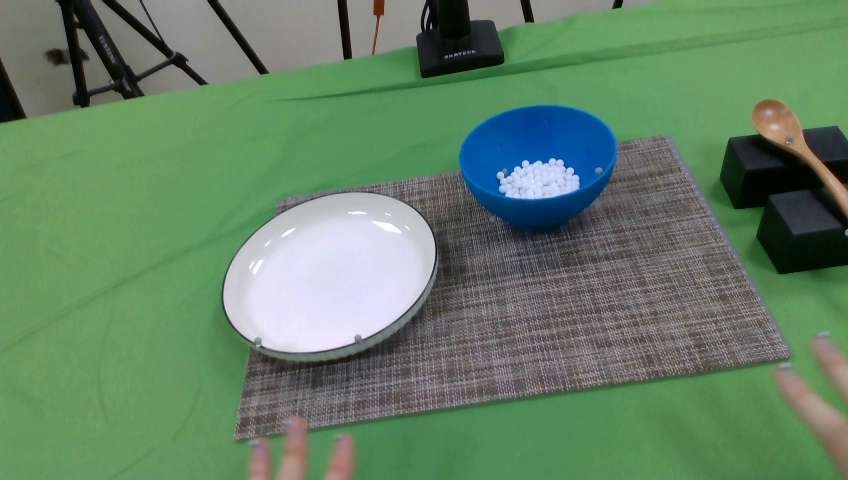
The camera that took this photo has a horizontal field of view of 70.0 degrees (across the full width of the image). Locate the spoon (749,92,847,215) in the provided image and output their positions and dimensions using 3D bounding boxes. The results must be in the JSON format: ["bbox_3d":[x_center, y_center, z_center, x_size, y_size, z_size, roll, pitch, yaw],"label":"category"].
[{"bbox_3d":[0.341,-0.067,0.529,0.041,0.022,0.191,-11,47,3],"label":"spoon"}]

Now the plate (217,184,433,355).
[{"bbox_3d":[-0.092,0.028,0.586,0.207,0.039,0.205,-6,46,7],"label":"plate"}]

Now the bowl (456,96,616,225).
[{"bbox_3d":[0.111,-0.069,0.604,0.151,0.077,0.150,-6,46,7],"label":"bowl"}]
